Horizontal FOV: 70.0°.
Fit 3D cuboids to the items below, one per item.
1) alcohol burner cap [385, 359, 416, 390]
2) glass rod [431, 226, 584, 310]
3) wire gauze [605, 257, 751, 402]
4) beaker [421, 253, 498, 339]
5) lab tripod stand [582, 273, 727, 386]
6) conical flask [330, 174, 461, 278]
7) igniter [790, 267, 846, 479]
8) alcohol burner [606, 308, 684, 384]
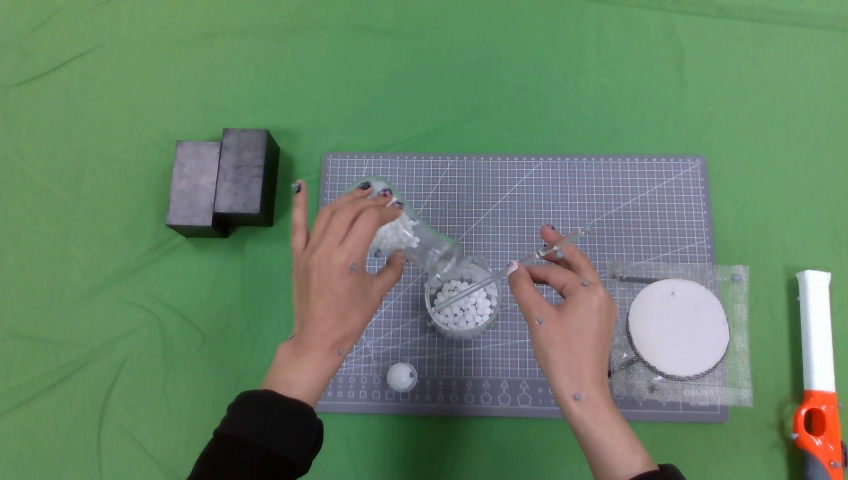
[{"bbox_3d":[-0.027,0.141,0.638,0.034,0.048,0.033,0,76,2],"label":"alcohol burner cap"},{"bbox_3d":[0.065,0.030,0.535,0.008,0.199,0.008,18,57,-30],"label":"glass rod"},{"bbox_3d":[0.222,0.076,0.531,0.125,0.011,0.121,3,78,3],"label":"wire gauze"},{"bbox_3d":[0.038,0.061,0.627,0.074,0.101,0.083,24,77,7],"label":"beaker"},{"bbox_3d":[0.223,0.095,0.596,0.148,0.132,0.147,0,78,2],"label":"lab tripod stand"},{"bbox_3d":[-0.022,-0.008,0.553,0.120,0.076,0.075,29,77,36],"label":"conical flask"},{"bbox_3d":[0.408,0.164,0.631,0.057,0.025,0.275,8,76,-8],"label":"igniter"},{"bbox_3d":[0.225,0.104,0.604,0.078,0.120,0.077,-1,76,4],"label":"alcohol burner"}]
